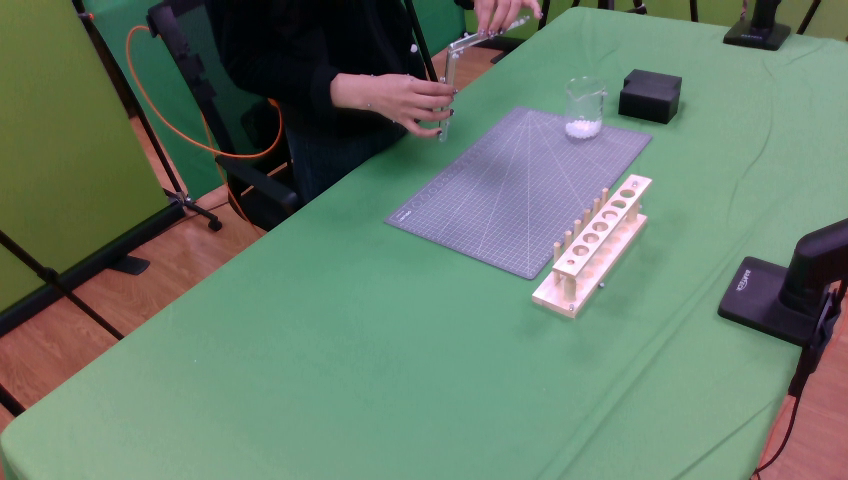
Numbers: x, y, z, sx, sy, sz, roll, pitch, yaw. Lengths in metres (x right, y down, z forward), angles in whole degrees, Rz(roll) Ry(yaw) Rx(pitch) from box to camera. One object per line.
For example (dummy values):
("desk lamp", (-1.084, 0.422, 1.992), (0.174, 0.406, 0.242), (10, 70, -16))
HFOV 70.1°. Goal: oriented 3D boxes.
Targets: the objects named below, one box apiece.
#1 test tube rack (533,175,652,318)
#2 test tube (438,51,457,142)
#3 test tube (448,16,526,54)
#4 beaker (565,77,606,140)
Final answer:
("test tube rack", (0.250, -0.001, 0.889), (0.066, 0.085, 0.243), (22, 49, 33))
("test tube", (0.038, -0.237, 1.006), (0.017, 0.150, 0.017), (6, 24, -2))
("test tube", (0.105, -0.338, 0.993), (0.151, 0.017, 0.017), (-27, 43, -16))
("beaker", (0.304, -0.247, 1.153), (0.073, 0.101, 0.084), (15, 47, 27))
